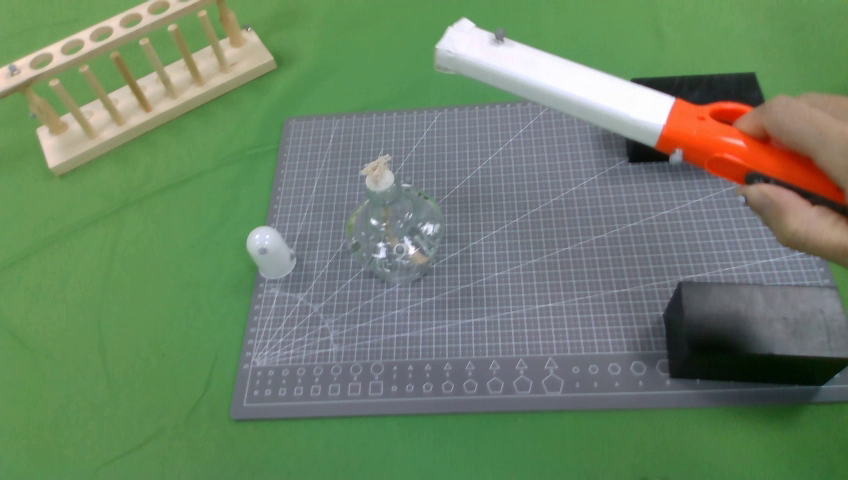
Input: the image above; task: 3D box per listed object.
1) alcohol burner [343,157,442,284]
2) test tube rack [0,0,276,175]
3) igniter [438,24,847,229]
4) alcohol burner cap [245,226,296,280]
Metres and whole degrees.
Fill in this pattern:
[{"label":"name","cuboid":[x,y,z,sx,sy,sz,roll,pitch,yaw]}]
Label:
[{"label":"alcohol burner","cuboid":[-0.026,-0.018,0.456,0.078,0.120,0.077,-3,55,5]},{"label":"test tube rack","cuboid":[-0.281,-0.167,0.602,0.242,0.086,0.066,-30,59,-12]},{"label":"igniter","cuboid":[0.137,-0.056,0.316,0.275,0.025,0.057,24,58,13]},{"label":"alcohol burner cap","cuboid":[-0.127,0.008,0.495,0.034,0.048,0.033,-4,58,6]}]
